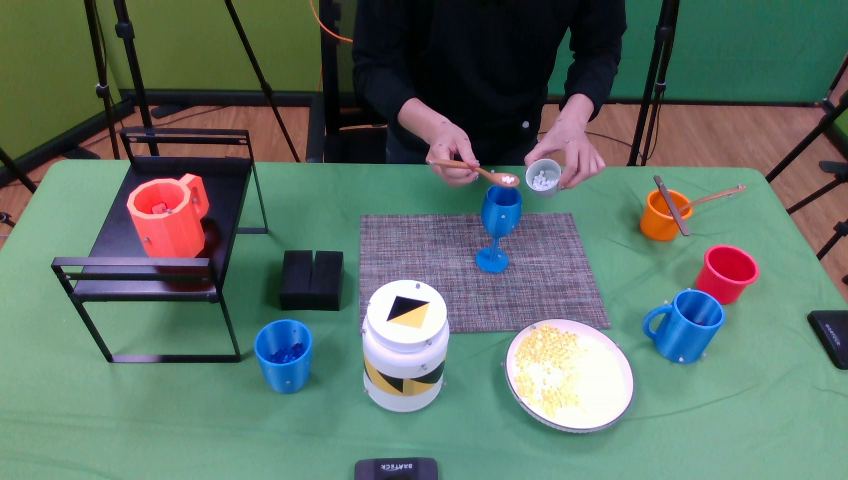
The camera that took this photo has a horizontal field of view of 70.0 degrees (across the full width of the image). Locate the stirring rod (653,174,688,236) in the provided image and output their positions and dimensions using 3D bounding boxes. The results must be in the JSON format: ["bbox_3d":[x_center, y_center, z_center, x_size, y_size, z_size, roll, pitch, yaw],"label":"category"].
[{"bbox_3d":[0.491,-0.072,1.211,0.014,0.006,0.175,-1,47,-5],"label":"stirring rod"}]

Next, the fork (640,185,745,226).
[{"bbox_3d":[0.534,-0.069,1.215,0.207,0.019,0.028,-26,27,33],"label":"fork"}]

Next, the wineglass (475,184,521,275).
[{"bbox_3d":[0.134,-0.020,1.115,0.074,0.173,0.073,2,46,-2],"label":"wineglass"}]

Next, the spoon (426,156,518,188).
[{"bbox_3d":[0.079,-0.112,0.967,0.195,0.021,0.041,13,30,-40],"label":"spoon"}]

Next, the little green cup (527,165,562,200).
[{"bbox_3d":[0.210,-0.100,1.055,0.061,0.039,0.061,-7,36,6],"label":"little green cup"}]

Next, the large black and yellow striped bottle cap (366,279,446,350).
[{"bbox_3d":[-0.025,0.104,0.864,0.115,0.019,0.114,3,48,-3],"label":"large black and yellow striped bottle cap"}]

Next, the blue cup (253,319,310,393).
[{"bbox_3d":[-0.217,0.187,0.943,0.093,0.101,0.092,3,45,-3],"label":"blue cup"}]

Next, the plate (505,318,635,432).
[{"bbox_3d":[0.235,0.221,0.991,0.209,0.038,0.208,2,45,-2],"label":"plate"}]

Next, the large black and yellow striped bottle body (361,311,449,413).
[{"bbox_3d":[-0.031,0.163,0.924,0.131,0.185,0.130,2,46,-2],"label":"large black and yellow striped bottle body"}]

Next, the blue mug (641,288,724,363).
[{"bbox_3d":[0.432,0.144,1.033,0.116,0.106,0.082,8,46,5],"label":"blue mug"}]

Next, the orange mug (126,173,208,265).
[{"bbox_3d":[-0.371,-0.039,0.902,0.083,0.101,0.126,18,52,14],"label":"orange mug"}]
